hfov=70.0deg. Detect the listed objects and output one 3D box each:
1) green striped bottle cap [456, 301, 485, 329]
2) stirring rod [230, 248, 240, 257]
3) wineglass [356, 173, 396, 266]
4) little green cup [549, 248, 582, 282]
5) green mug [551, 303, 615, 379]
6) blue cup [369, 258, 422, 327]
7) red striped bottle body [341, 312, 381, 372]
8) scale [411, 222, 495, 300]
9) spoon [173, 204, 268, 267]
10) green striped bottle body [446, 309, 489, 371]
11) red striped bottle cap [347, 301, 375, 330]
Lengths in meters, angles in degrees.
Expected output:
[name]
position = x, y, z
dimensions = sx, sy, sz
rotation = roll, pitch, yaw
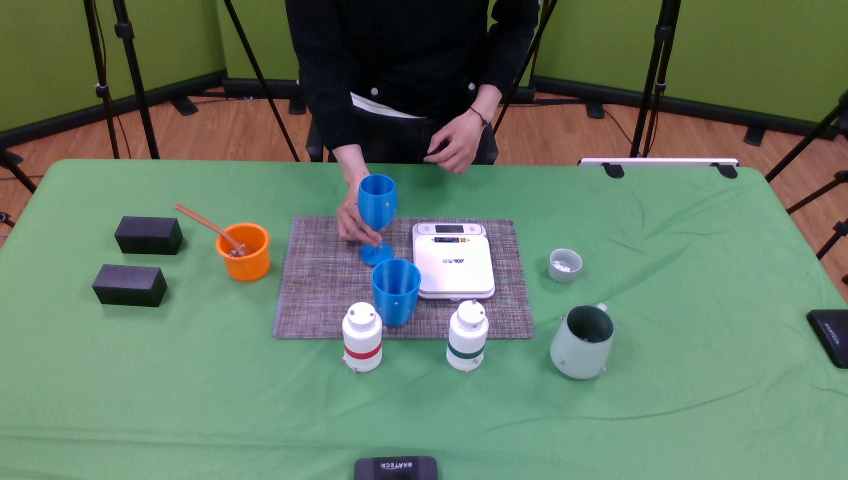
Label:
[green striped bottle cap]
position = 0.073, 0.116, 0.943
dimensions = 0.044, 0.020, 0.044
rotation = 3, 46, -3
[stirring rod]
position = -0.330, 0.023, 1.059
dimensions = 0.014, 0.176, 0.006
rotation = 33, 79, -11
[wineglass]
position = -0.088, -0.035, 1.111
dimensions = 0.074, 0.173, 0.073
rotation = 2, 44, -2
[little green cup]
position = 0.268, 0.050, 1.156
dimensions = 0.061, 0.039, 0.061
rotation = 1, 46, -1
[green mug]
position = 0.271, 0.157, 1.007
dimensions = 0.092, 0.105, 0.125
rotation = 27, 50, 21
[blue cup]
position = -0.051, 0.097, 1.039
dimensions = 0.093, 0.101, 0.092
rotation = 3, 43, -2
[red striped bottle body]
position = -0.100, 0.154, 0.972
dimensions = 0.063, 0.120, 0.062
rotation = 2, 46, -2
[scale]
position = 0.052, 0.031, 1.158
dimensions = 0.149, 0.032, 0.199
rotation = 1, 46, -4
[spoon]
position = -0.363, -0.009, 1.089
dimensions = 0.021, 0.195, 0.041
rotation = -35, 31, 23
[green striped bottle body]
position = 0.070, 0.155, 0.984
dimensions = 0.063, 0.120, 0.063
rotation = 2, 45, -2
[red striped bottle cap]
position = -0.097, 0.116, 0.934
dimensions = 0.044, 0.018, 0.044
rotation = 3, 48, -3
